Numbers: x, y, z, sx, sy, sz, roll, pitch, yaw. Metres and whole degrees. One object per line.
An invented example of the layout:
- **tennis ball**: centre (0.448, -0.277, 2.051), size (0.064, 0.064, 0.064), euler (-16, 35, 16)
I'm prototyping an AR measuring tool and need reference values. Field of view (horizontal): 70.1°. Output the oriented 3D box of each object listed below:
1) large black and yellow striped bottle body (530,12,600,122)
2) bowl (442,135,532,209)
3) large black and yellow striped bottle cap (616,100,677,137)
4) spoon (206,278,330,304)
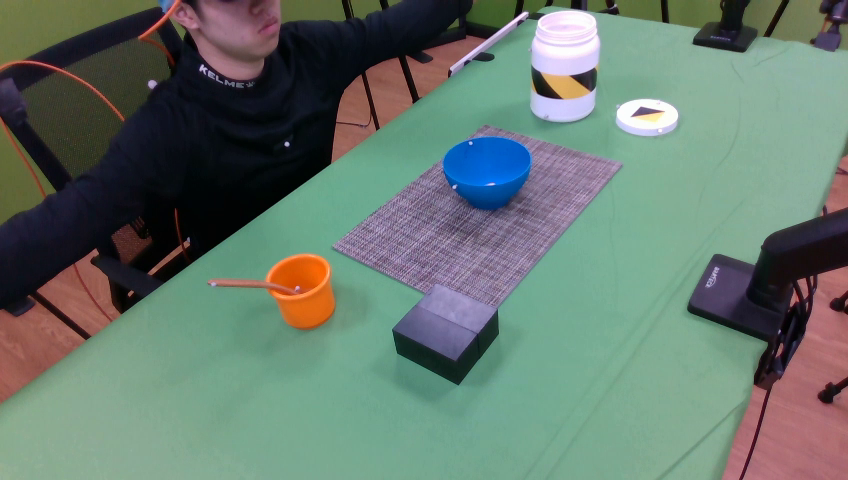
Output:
- **large black and yellow striped bottle body**: centre (0.279, -0.344, 1.202), size (0.131, 0.185, 0.130), euler (-4, 41, 4)
- **bowl**: centre (0.108, -0.106, 1.026), size (0.151, 0.077, 0.150), euler (-4, 41, 4)
- **large black and yellow striped bottle cap**: centre (0.438, -0.241, 1.190), size (0.115, 0.019, 0.114), euler (-4, 42, 4)
- **spoon**: centre (-0.207, 0.066, 0.824), size (0.041, 0.195, 0.021), euler (34, 100, 40)
